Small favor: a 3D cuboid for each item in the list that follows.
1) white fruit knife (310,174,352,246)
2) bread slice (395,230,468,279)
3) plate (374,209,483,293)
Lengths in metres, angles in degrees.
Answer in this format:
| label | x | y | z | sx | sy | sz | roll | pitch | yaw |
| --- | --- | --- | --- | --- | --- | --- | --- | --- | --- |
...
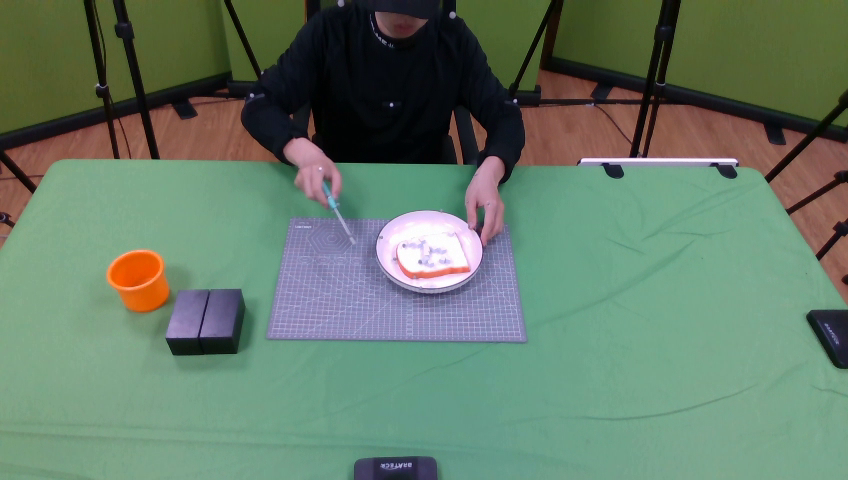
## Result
| label | x | y | z | sx | sy | sz | roll | pitch | yaw |
| --- | --- | --- | --- | --- | --- | --- | --- | --- | --- |
| white fruit knife | -0.176 | -0.060 | 1.152 | 0.016 | 0.027 | 0.206 | -28 | 55 | -9 |
| bread slice | 0.011 | 0.029 | 1.158 | 0.132 | 0.019 | 0.104 | -9 | 48 | -14 |
| plate | 0.009 | 0.024 | 1.160 | 0.209 | 0.038 | 0.208 | 2 | 46 | -2 |
